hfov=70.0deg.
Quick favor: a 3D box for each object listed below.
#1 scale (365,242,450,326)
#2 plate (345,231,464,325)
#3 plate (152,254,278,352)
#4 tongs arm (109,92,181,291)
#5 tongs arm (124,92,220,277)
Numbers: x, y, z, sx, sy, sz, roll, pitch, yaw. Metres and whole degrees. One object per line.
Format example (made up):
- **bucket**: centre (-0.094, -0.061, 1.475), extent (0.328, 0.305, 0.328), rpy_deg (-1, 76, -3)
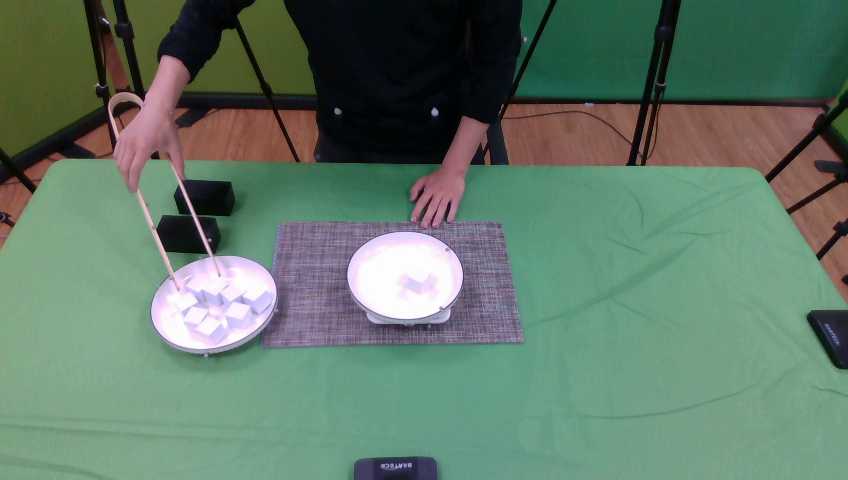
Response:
- **scale**: centre (-0.032, 0.071, 1.113), extent (0.149, 0.032, 0.199), rpy_deg (0, 46, -4)
- **plate**: centre (-0.034, 0.069, 1.069), extent (0.209, 0.038, 0.208), rpy_deg (2, 46, -2)
- **plate**: centre (-0.357, 0.111, 1.052), extent (0.208, 0.039, 0.206), rpy_deg (2, 46, -2)
- **tongs arm**: centre (-0.488, -0.091, 1.080), extent (0.051, 0.026, 0.383), rpy_deg (-24, 80, -22)
- **tongs arm**: centre (-0.454, -0.104, 1.096), extent (0.028, 0.028, 0.386), rpy_deg (-25, 80, -19)
